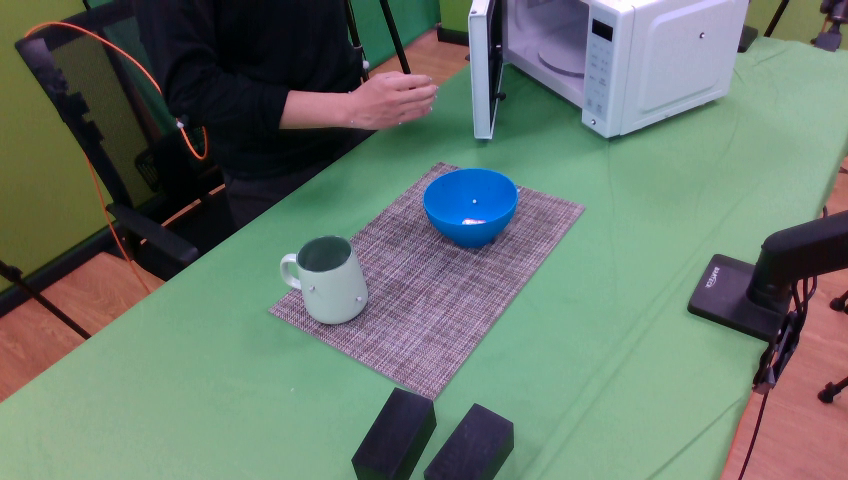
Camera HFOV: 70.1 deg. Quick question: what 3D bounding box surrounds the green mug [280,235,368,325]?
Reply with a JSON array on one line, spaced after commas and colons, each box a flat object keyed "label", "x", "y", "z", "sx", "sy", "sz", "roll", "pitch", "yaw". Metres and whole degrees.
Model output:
[{"label": "green mug", "x": -0.146, "y": 0.055, "z": 0.857, "sx": 0.125, "sy": 0.105, "sz": 0.092, "roll": 8, "pitch": 43, "yaw": 17}]

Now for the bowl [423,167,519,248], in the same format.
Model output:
[{"label": "bowl", "x": 0.075, "y": -0.041, "z": 0.958, "sx": 0.151, "sy": 0.077, "sz": 0.150, "roll": -4, "pitch": 40, "yaw": 4}]

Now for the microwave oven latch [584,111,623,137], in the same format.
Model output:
[{"label": "microwave oven latch", "x": 0.337, "y": -0.222, "z": 1.142, "sx": 0.030, "sy": 0.029, "sz": 0.078, "roll": -21, "pitch": 42, "yaw": -14}]

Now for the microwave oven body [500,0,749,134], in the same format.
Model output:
[{"label": "microwave oven body", "x": 0.382, "y": -0.444, "z": 1.246, "sx": 0.327, "sy": 0.261, "sz": 0.437, "roll": -22, "pitch": 42, "yaw": -16}]

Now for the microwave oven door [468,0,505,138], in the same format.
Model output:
[{"label": "microwave oven door", "x": 0.132, "y": -0.404, "z": 1.225, "sx": 0.039, "sy": 0.245, "sz": 0.354, "roll": 1, "pitch": 42, "yaw": 11}]
